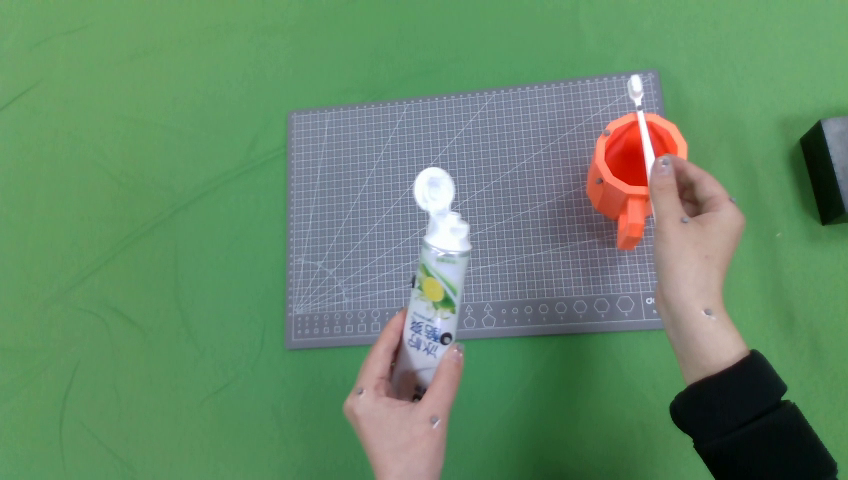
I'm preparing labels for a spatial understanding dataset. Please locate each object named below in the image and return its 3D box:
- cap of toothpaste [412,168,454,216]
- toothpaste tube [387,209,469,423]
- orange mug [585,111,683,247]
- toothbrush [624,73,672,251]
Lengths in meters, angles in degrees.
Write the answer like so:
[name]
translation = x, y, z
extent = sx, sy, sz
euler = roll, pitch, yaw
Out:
[cap of toothpaste]
translation = 0.008, -0.035, 0.441
extent = 0.037, 0.011, 0.037
euler = -1, 92, -31
[toothpaste tube]
translation = 0.004, 0.055, 0.451
extent = 0.054, 0.034, 0.166
euler = 21, 111, 32
[orange mug]
translation = 0.214, -0.059, 0.630
extent = 0.083, 0.101, 0.125
euler = 4, 73, 10
[toothbrush]
translation = 0.215, -0.078, 0.579
extent = 0.014, 0.017, 0.181
euler = -7, 76, 4
